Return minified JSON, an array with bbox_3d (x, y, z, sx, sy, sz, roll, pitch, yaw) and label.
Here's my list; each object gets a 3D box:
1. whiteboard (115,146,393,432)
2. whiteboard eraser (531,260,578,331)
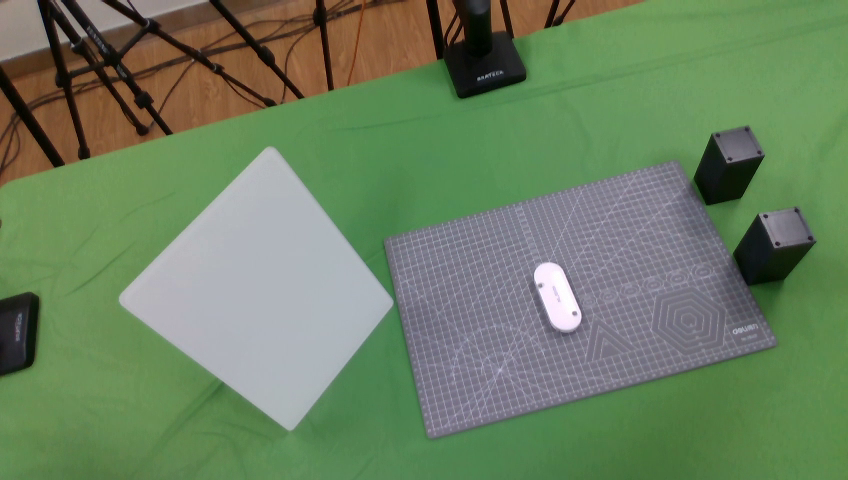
[{"bbox_3d":[-0.214,0.054,0.750,0.142,0.309,0.216,22,65,41],"label":"whiteboard"},{"bbox_3d":[0.173,0.073,0.808,0.041,0.019,0.100,-16,61,-1],"label":"whiteboard eraser"}]
